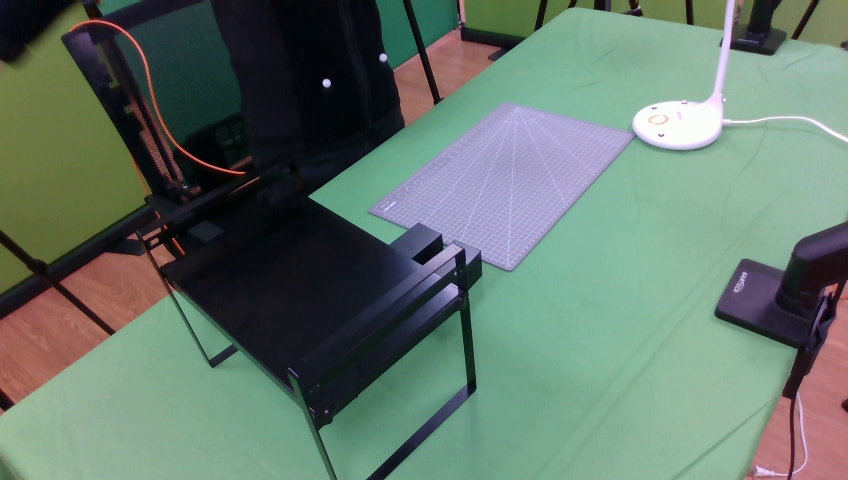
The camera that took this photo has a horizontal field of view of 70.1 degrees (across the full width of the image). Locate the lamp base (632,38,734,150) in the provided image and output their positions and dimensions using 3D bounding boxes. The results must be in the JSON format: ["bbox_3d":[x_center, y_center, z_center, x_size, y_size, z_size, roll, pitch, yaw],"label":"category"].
[{"bbox_3d":[0.486,-0.280,1.107,0.179,0.181,0.159,-5,41,-1],"label":"lamp base"}]
